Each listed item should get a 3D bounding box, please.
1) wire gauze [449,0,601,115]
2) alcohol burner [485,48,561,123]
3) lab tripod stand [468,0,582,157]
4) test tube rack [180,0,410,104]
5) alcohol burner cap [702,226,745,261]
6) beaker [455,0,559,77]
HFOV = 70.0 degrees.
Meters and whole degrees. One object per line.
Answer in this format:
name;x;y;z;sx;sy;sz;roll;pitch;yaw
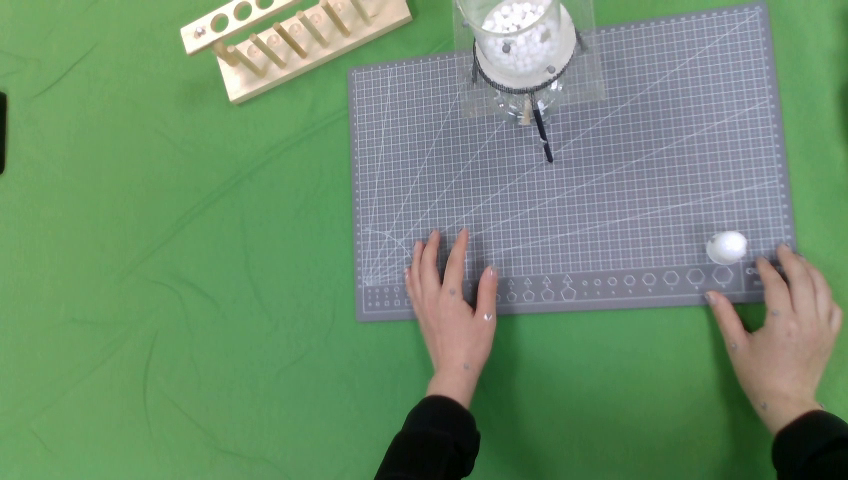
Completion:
wire gauze;0.086;-0.174;0.532;0.125;0.011;0.121;-5;86;11
alcohol burner;0.098;-0.161;0.606;0.078;0.119;0.077;-2;82;13
lab tripod stand;0.102;-0.166;0.595;0.148;0.132;0.148;-1;84;13
test tube rack;-0.147;-0.248;0.697;0.242;0.085;0.066;-22;78;11
alcohol burner cap;0.286;0.001;0.576;0.034;0.048;0.034;-2;82;14
beaker;0.068;-0.180;0.487;0.083;0.101;0.074;9;86;16
